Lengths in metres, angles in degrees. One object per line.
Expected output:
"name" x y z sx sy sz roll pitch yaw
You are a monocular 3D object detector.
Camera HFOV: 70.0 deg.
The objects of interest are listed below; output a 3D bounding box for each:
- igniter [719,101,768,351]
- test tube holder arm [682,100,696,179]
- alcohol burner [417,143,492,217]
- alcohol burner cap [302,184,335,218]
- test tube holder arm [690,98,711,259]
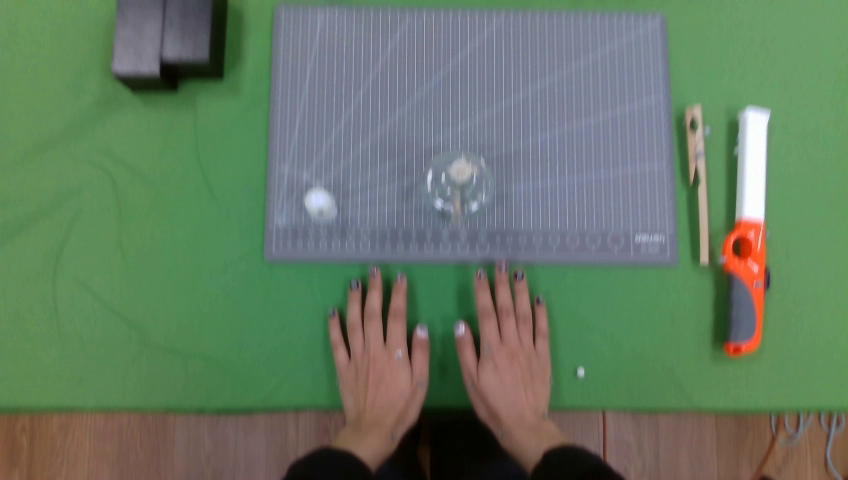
"igniter" 0.351 -0.017 0.661 0.057 0.025 0.275 8 83 -11
"test tube holder arm" 0.298 -0.112 0.677 0.010 0.015 0.087 -7 83 32
"alcohol burner" 0.033 -0.065 0.611 0.078 0.119 0.077 0 81 -2
"alcohol burner cap" -0.112 -0.043 0.639 0.034 0.048 0.034 0 83 -3
"test tube holder arm" 0.305 -0.068 0.669 0.013 0.015 0.178 -7 83 32
